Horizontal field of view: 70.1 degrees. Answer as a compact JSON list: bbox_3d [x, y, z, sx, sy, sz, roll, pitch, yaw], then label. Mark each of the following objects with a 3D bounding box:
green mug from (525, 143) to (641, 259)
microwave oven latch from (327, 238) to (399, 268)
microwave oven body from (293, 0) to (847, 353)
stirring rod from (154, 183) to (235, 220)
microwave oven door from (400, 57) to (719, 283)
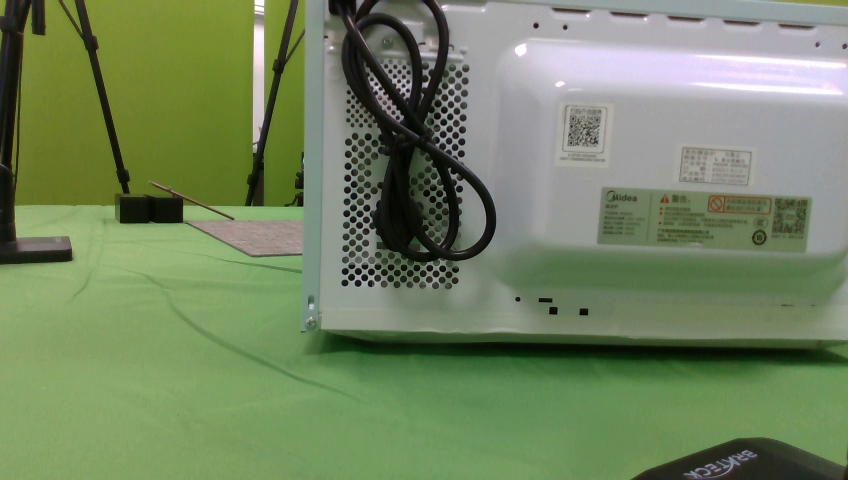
[{"bbox_3d":[0.152,-0.041,0.601,0.093,0.105,0.124,-2,10,-43],"label":"green mug"},{"bbox_3d":[-0.069,0.015,0.694,0.079,0.029,0.030,3,7,-2],"label":"microwave oven latch"},{"bbox_3d":[0.122,-0.055,0.550,0.442,0.260,0.325,3,7,-5],"label":"microwave oven body"},{"bbox_3d":[-0.472,-0.079,1.252,0.177,0.006,0.014,27,3,-35],"label":"stirring rod"},{"bbox_3d":[0.155,-0.078,0.701,0.356,0.243,0.039,2,8,-4],"label":"microwave oven door"}]
